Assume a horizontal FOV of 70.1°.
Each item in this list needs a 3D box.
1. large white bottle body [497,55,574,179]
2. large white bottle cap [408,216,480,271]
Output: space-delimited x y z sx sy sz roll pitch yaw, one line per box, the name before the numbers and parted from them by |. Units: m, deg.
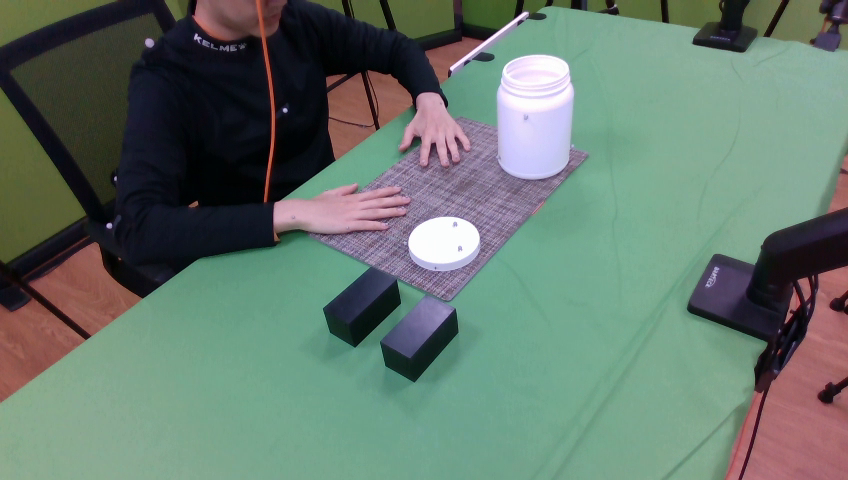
large white bottle body | 0.194 -0.216 1.060 0.130 0.185 0.130 -4 41 4
large white bottle cap | 0.032 0.004 0.957 0.115 0.018 0.114 -4 41 4
